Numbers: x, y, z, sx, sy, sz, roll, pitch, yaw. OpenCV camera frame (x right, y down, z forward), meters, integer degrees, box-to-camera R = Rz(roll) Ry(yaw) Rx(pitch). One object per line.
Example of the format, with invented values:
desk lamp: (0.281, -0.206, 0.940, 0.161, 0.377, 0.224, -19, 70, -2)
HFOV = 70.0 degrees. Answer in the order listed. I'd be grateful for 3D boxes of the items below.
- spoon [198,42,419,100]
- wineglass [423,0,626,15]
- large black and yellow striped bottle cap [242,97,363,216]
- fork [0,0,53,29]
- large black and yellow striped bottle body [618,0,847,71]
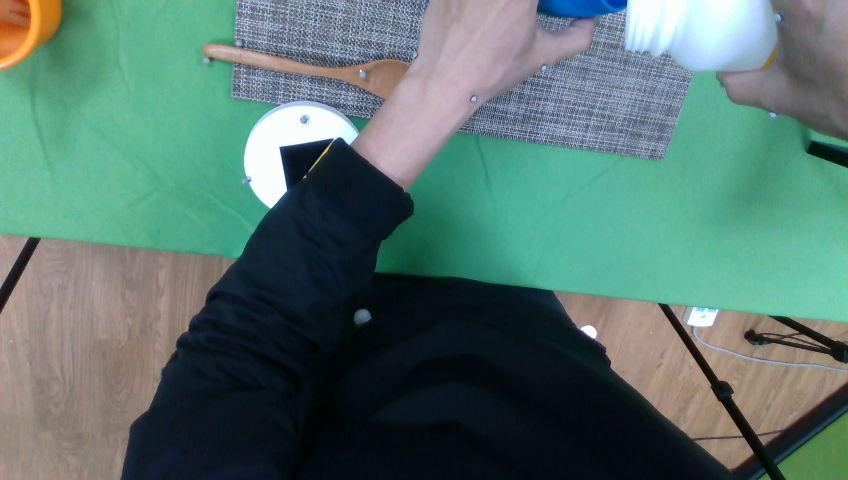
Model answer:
spoon: (-0.100, -0.155, 0.540, 0.194, 0.021, 0.042, 4, 135, -15)
wineglass: (0.071, -0.208, 0.458, 0.074, 0.170, 0.074, -17, 117, -38)
large black and yellow striped bottle cap: (-0.115, -0.078, 0.580, 0.115, 0.018, 0.116, -6, 120, -10)
fork: (-0.359, -0.177, 0.403, 0.208, 0.018, 0.028, -7, 133, -59)
large black and yellow striped bottle body: (0.211, -0.165, 0.344, 0.183, 0.130, 0.131, 5, 116, 14)
